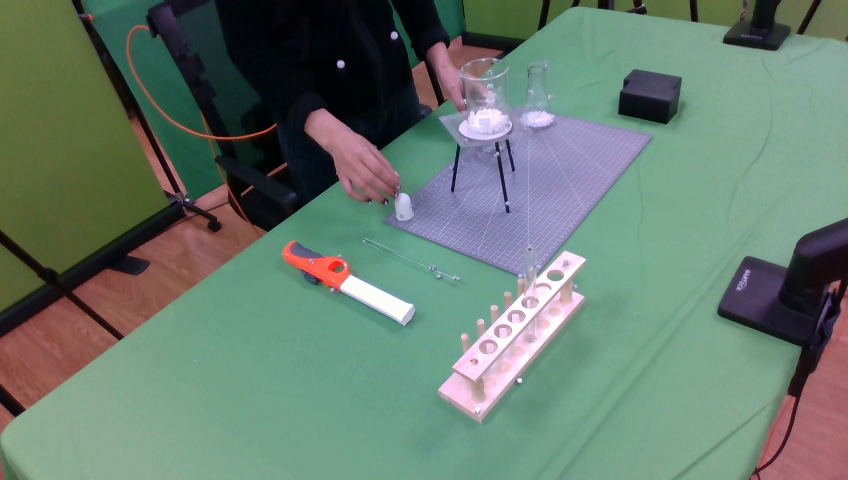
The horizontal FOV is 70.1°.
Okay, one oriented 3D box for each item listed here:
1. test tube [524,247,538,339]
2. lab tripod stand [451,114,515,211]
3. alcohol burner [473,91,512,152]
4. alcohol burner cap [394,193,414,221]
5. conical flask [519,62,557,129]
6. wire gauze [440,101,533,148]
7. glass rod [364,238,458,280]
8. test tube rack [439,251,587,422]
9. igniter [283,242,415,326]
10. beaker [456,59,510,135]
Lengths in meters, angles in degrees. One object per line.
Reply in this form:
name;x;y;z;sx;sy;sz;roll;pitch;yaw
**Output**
test tube;0.133;0.070;0.749;0.017;0.151;0.017;-5;38;4
lab tripod stand;0.113;-0.140;1.037;0.148;0.132;0.147;-6;38;5
alcohol burner;0.132;-0.229;1.155;0.078;0.119;0.077;-5;38;4
alcohol burner cap;-0.036;-0.059;1.040;0.034;0.048;0.033;-5;41;5
conical flask;0.225;-0.288;1.198;0.075;0.122;0.075;-6;40;5
wire gauze;0.100;-0.189;0.995;0.125;0.011;0.120;-16;37;-6
glass rod;-0.026;0.029;0.966;0.198;0.008;0.008;21;49;35
test tube rack;0.118;0.111;0.780;0.066;0.085;0.243;26;51;35
igniter;-0.126;0.062;0.931;0.274;0.025;0.057;24;61;33
beaker;0.098;-0.226;0.964;0.084;0.101;0.073;-7;39;4
